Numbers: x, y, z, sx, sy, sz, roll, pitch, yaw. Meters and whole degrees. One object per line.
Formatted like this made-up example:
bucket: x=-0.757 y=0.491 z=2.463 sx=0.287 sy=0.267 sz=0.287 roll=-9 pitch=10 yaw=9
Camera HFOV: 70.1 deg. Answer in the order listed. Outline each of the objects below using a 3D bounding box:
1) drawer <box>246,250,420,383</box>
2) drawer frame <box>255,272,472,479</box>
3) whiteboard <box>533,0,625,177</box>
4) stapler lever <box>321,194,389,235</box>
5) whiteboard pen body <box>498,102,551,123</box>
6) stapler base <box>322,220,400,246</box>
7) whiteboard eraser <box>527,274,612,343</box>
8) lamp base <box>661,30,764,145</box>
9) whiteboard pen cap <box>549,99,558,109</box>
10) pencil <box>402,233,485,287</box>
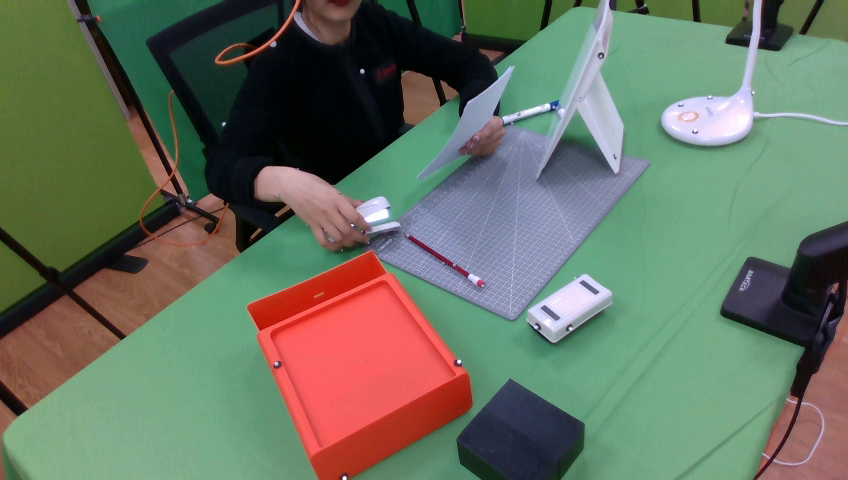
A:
drawer: x=-0.109 y=0.129 z=0.804 sx=0.195 sy=0.073 sz=0.210 roll=-23 pitch=42 yaw=-18
drawer frame: x=-0.079 y=0.161 z=0.760 sx=0.202 sy=0.083 sz=0.211 roll=-24 pitch=43 yaw=-18
whiteboard: x=0.321 y=-0.258 z=1.049 sx=0.144 sy=0.306 sz=0.217 roll=20 pitch=45 yaw=4
stapler lever: x=-0.115 y=-0.043 z=1.004 sx=0.118 sy=0.027 sz=0.040 roll=-17 pitch=82 yaw=-3
whiteboard pen body: x=0.220 y=-0.268 z=1.256 sx=0.141 sy=0.017 sz=0.017 roll=-19 pitch=41 yaw=-12
stapler base: x=-0.106 y=-0.017 z=1.001 sx=0.131 sy=0.041 sz=0.024 roll=-16 pitch=81 yaw=-3
whiteboard eraser: x=0.198 y=0.094 z=0.820 sx=0.113 sy=0.042 sz=0.055 roll=-30 pitch=43 yaw=-22
lamp base: x=0.535 y=-0.287 z=1.096 sx=0.179 sy=0.181 sz=0.159 roll=-10 pitch=40 yaw=-4
whiteboard pen cap: x=0.275 y=-0.286 z=1.267 sx=0.033 sy=0.018 sz=0.018 roll=-17 pitch=41 yaw=-12
pencil: x=0.026 y=0.027 z=0.949 sx=0.012 sy=0.012 sz=0.192 roll=-34 pitch=44 yaw=-26
